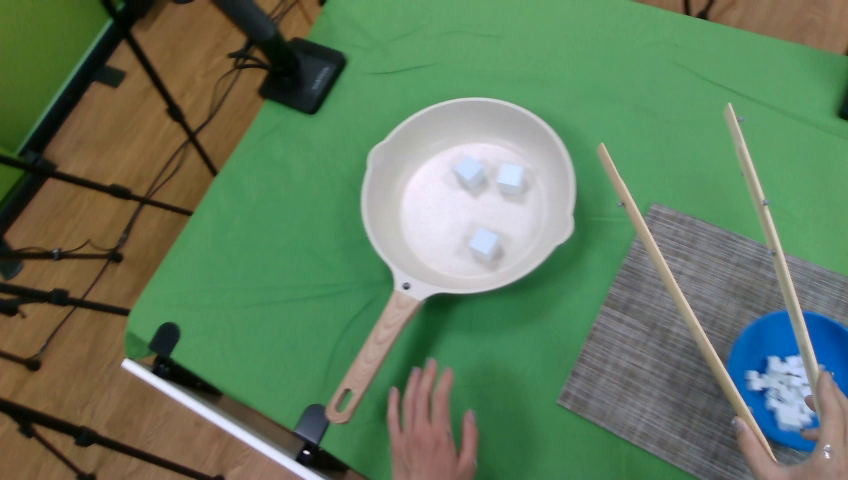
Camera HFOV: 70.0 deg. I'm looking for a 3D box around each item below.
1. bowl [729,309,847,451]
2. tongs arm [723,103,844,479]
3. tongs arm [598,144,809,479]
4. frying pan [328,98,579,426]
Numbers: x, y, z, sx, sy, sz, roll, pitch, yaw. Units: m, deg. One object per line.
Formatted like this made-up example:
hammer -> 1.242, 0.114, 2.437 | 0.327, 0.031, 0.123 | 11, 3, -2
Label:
bowl -> 0.412, 0.159, 0.674 | 0.151, 0.077, 0.150 | -4, 68, 11
tongs arm -> 0.348, 0.042, 0.614 | 0.051, 0.027, 0.382 | -13, 75, 4
tongs arm -> 0.274, 0.065, 0.620 | 0.028, 0.028, 0.385 | -24, 74, -3
frying pan -> 0.013, 0.026, 0.808 | 0.305, 0.104, 0.486 | 25, 68, 21
